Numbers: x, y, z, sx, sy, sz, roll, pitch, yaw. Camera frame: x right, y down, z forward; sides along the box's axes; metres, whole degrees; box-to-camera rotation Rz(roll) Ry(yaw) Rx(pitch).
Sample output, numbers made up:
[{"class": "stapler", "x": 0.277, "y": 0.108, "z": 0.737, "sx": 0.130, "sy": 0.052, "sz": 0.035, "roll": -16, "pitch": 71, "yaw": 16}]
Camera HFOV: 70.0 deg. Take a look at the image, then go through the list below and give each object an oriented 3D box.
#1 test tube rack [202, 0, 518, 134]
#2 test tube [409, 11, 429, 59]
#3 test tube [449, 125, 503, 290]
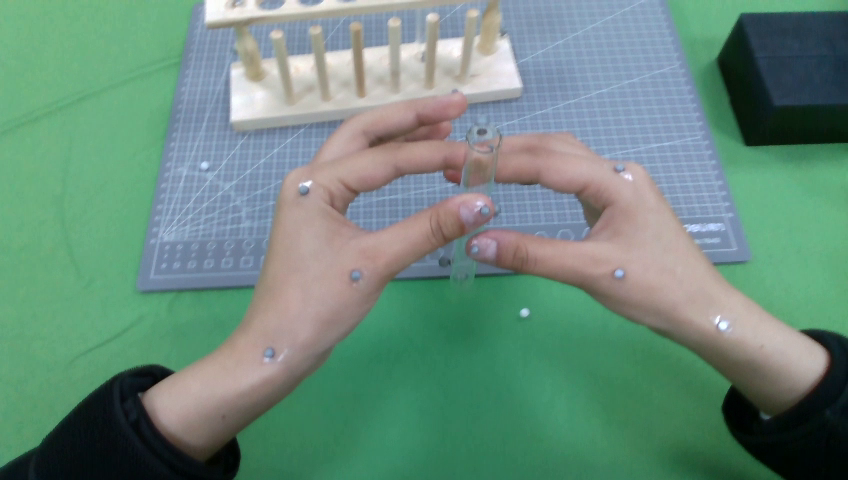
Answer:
[{"class": "test tube rack", "x": -0.045, "y": -0.153, "z": 0.492, "sx": 0.242, "sy": 0.086, "sz": 0.066, "roll": -8, "pitch": 61, "yaw": -5}, {"class": "test tube", "x": -0.005, "y": -0.201, "z": 0.462, "sx": 0.017, "sy": 0.151, "sz": 0.017, "roll": -1, "pitch": 56, "yaw": 2}, {"class": "test tube", "x": 0.024, "y": -0.008, "z": 0.314, "sx": 0.017, "sy": 0.151, "sz": 0.017, "roll": 1, "pitch": 63, "yaw": -1}]
